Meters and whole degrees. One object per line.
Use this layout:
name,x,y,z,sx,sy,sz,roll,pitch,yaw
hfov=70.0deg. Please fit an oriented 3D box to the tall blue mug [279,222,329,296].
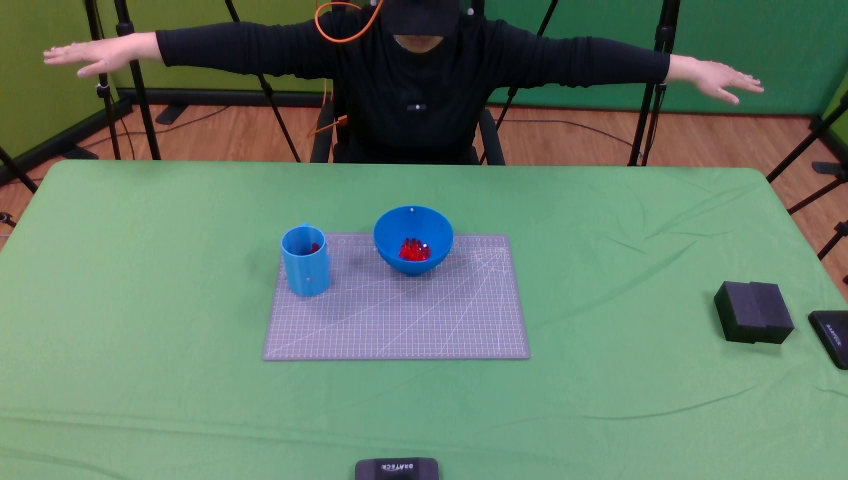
tall blue mug,-0.221,0.029,1.090,0.078,0.108,0.106,-26,53,-25

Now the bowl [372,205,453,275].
bowl,-0.022,0.013,1.143,0.151,0.077,0.150,2,46,-2
